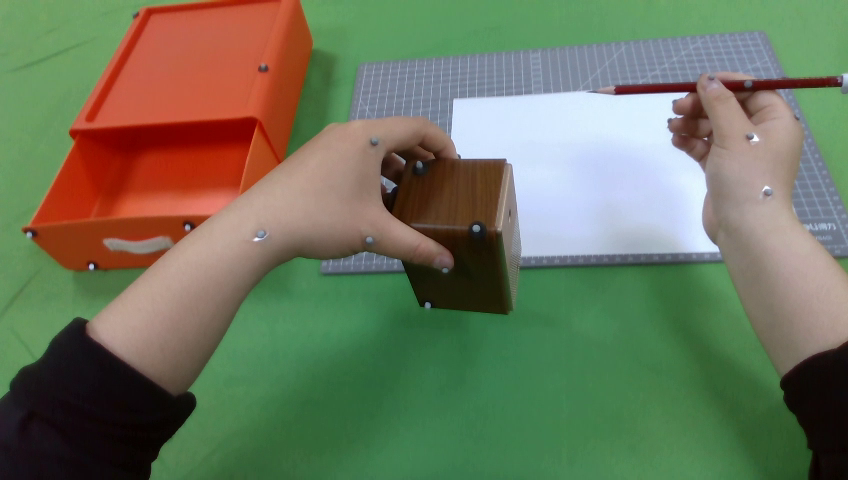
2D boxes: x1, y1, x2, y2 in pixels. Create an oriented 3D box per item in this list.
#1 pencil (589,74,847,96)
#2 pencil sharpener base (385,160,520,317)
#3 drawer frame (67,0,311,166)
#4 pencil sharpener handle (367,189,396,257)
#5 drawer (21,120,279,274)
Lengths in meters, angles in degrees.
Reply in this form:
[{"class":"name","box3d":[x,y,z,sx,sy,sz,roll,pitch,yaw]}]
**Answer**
[{"class":"pencil","box3d":[0.217,-0.110,0.432,0.193,0.012,0.012,3,54,20]},{"class":"pencil sharpener base","box3d":[0.022,0.001,0.413,0.076,0.108,0.061,2,56,15]},{"class":"drawer frame","box3d":[-0.244,-0.167,0.666,0.201,0.083,0.211,-3,53,8]},{"class":"pencil sharpener handle","box3d":[-0.030,-0.008,0.416,0.030,0.068,0.035,2,58,15]},{"class":"drawer","box3d":[-0.248,-0.072,0.599,0.194,0.074,0.209,-4,53,8]}]
